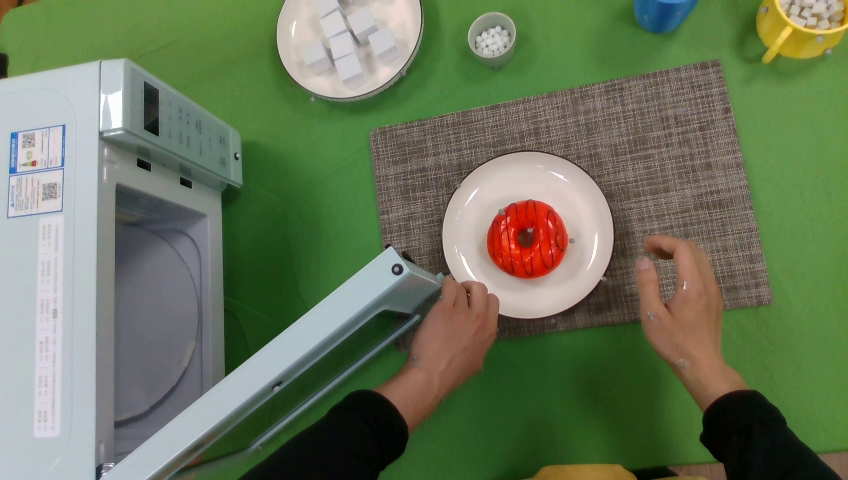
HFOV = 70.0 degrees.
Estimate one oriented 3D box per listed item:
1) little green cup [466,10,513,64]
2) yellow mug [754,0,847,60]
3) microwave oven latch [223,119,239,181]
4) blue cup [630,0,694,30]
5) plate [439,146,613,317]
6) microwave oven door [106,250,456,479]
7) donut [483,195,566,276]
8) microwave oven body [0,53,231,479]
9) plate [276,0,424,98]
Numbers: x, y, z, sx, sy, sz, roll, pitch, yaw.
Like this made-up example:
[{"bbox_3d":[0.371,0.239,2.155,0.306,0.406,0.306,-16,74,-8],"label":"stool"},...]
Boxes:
[{"bbox_3d":[0.087,-0.261,0.787,0.061,0.039,0.061,-2,82,12],"label":"little green cup"},{"bbox_3d":[0.434,-0.263,0.699,0.099,0.064,0.131,40,93,15],"label":"yellow mug"},{"bbox_3d":[-0.270,-0.122,0.824,0.030,0.029,0.079,-5,82,11],"label":"microwave oven latch"},{"bbox_3d":[0.284,-0.299,0.718,0.092,0.100,0.092,-1,83,11],"label":"blue cup"},{"bbox_3d":[0.123,-0.010,0.741,0.209,0.038,0.208,-2,82,12],"label":"plate"},{"bbox_3d":[-0.133,0.141,0.654,0.356,0.245,0.039,-39,75,4],"label":"microwave oven door"},{"bbox_3d":[0.120,-0.005,0.729,0.099,0.048,0.099,-1,85,12],"label":"donut"},{"bbox_3d":[-0.421,0.054,0.732,0.325,0.261,0.440,-6,82,11],"label":"microwave oven body"},{"bbox_3d":[-0.099,-0.290,0.830,0.207,0.039,0.207,-2,82,12],"label":"plate"}]
